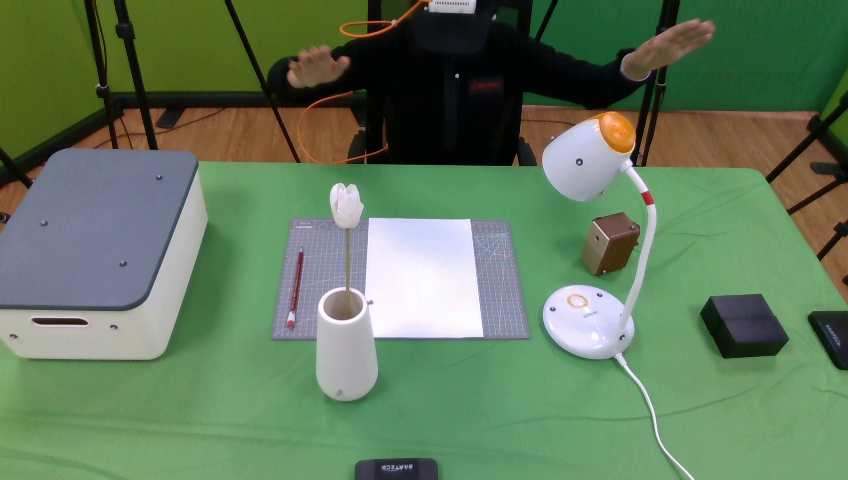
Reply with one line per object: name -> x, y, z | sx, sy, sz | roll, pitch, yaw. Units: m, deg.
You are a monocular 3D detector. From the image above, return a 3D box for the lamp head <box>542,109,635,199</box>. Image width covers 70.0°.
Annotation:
lamp head -> 0.253, -0.131, 0.893 | 0.113, 0.123, 0.112 | 10, 66, -24

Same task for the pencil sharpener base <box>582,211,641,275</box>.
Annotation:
pencil sharpener base -> 0.357, 0.005, 1.155 | 0.077, 0.107, 0.061 | -15, 48, -17

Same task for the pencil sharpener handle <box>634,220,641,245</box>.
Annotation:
pencil sharpener handle -> 0.405, -0.015, 1.161 | 0.031, 0.068, 0.035 | -15, 44, -17

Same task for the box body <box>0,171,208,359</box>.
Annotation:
box body -> -0.541, 0.021, 1.042 | 0.254, 0.161, 0.361 | 1, 46, -3

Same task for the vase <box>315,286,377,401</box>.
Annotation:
vase -> -0.119, 0.159, 0.911 | 0.098, 0.201, 0.097 | 2, 47, -2

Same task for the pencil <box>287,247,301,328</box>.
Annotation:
pencil -> -0.236, 0.081, 1.107 | 0.012, 0.012, 0.193 | 0, 45, -4

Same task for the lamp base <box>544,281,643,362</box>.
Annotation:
lamp base -> 0.304, 0.095, 1.014 | 0.161, 0.181, 0.178 | -24, 54, -24

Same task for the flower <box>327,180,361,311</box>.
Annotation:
flower -> -0.110, 0.087, 0.867 | 0.044, 0.363, 0.038 | 22, 33, 36

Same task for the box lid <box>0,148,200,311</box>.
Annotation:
box lid -> -0.536, -0.034, 0.990 | 0.263, 0.015, 0.369 | 1, 45, -3
